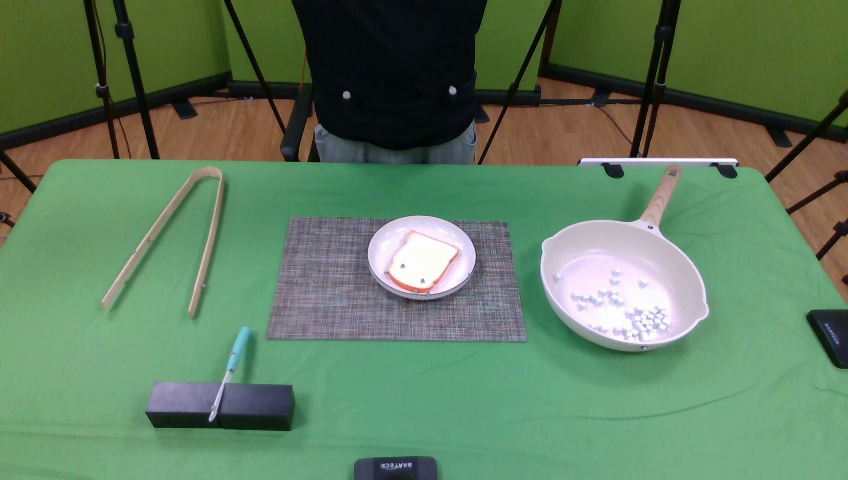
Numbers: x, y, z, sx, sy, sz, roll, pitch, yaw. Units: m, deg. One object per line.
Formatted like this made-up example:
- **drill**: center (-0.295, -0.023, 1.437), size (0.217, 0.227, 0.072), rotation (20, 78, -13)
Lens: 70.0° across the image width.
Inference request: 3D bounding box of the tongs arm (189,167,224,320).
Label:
- **tongs arm**: center (-0.420, -0.007, 1.172), size (0.028, 0.028, 0.385), rotation (-2, 47, -6)

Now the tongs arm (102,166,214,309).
- **tongs arm**: center (-0.500, -0.018, 1.167), size (0.051, 0.026, 0.382), rotation (10, 46, 1)

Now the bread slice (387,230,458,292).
- **bread slice**: center (-0.007, 0.043, 1.142), size (0.107, 0.018, 0.134), rotation (18, 46, 14)

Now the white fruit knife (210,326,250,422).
- **white fruit knife**: center (-0.301, 0.201, 0.942), size (0.016, 0.027, 0.206), rotation (3, 32, -3)

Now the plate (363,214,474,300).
- **plate**: center (-0.010, 0.036, 1.146), size (0.208, 0.039, 0.206), rotation (3, 46, -2)

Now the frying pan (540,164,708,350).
- **frying pan**: center (0.407, 0.012, 1.160), size (0.306, 0.103, 0.486), rotation (26, 58, 18)
